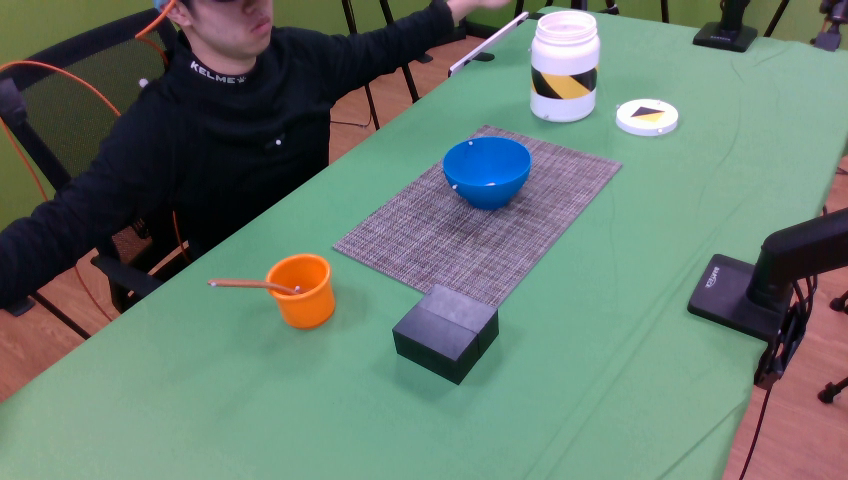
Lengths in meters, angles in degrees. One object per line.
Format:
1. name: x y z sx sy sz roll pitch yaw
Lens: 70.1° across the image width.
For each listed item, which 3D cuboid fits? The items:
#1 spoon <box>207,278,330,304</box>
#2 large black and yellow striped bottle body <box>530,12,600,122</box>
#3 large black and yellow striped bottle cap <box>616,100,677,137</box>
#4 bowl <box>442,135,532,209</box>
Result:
1. spoon: -0.207 0.066 0.824 0.041 0.195 0.021 32 99 41
2. large black and yellow striped bottle body: 0.279 -0.344 1.202 0.131 0.185 0.130 -4 41 4
3. large black and yellow striped bottle cap: 0.438 -0.241 1.190 0.115 0.019 0.114 -4 42 4
4. bowl: 0.108 -0.106 1.026 0.151 0.077 0.150 -4 41 4
